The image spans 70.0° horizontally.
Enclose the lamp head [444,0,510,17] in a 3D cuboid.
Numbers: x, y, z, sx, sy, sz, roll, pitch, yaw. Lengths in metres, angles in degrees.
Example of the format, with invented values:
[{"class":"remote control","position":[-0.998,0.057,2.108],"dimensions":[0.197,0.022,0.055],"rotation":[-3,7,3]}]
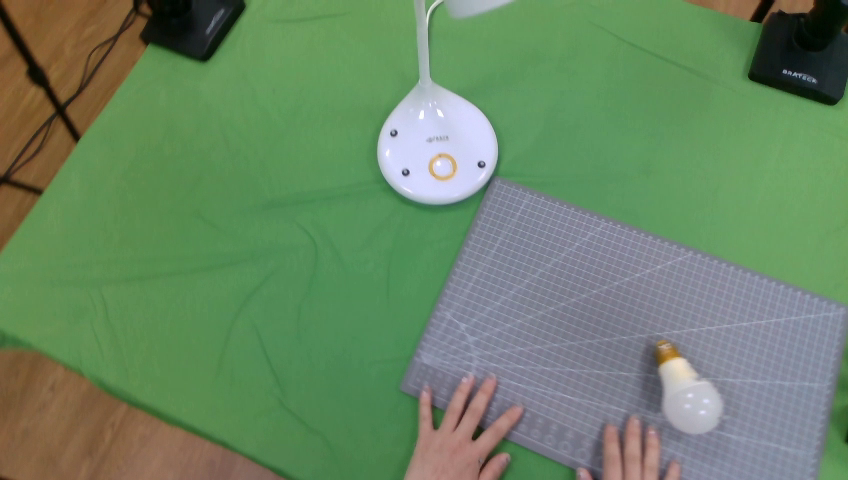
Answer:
[{"class":"lamp head","position":[0.045,-0.247,0.455],"dimensions":[0.112,0.111,0.124],"rotation":[-33,113,-10]}]

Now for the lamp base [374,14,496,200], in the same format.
[{"class":"lamp base","position":[0.006,-0.164,0.728],"dimensions":[0.161,0.181,0.177],"rotation":[-18,67,-4]}]

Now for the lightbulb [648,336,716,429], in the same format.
[{"class":"lightbulb","position":[0.277,0.153,0.665],"dimensions":[0.059,0.060,0.106],"rotation":[-12,53,-2]}]
